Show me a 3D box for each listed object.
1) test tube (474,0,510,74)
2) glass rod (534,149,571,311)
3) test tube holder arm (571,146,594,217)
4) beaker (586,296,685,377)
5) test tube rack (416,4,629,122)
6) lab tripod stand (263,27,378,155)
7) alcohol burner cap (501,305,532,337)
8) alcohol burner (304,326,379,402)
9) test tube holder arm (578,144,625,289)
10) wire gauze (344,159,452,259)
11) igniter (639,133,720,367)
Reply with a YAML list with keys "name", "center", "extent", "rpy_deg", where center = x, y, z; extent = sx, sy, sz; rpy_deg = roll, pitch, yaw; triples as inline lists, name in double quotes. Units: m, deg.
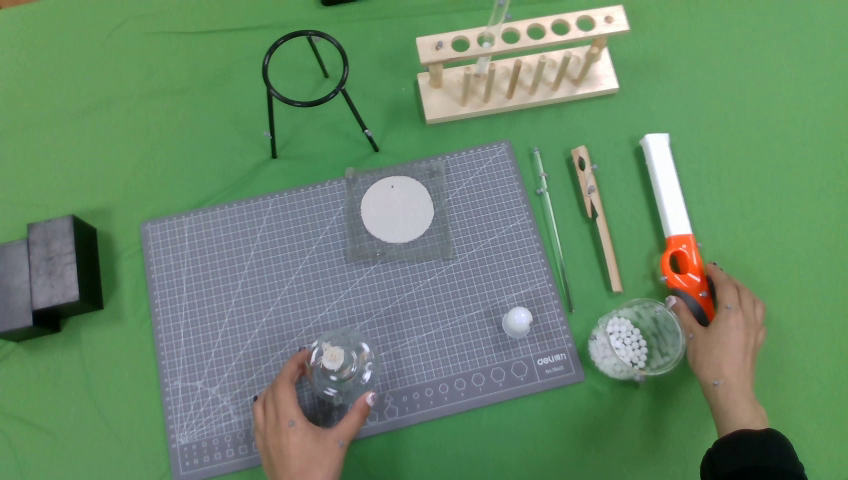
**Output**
- name: "test tube"
  center: [0.075, -0.231, 0.679]
  extent: [0.017, 0.151, 0.017]
  rpy_deg: [1, 74, -5]
- name: "glass rod"
  center: [0.149, -0.015, 0.707]
  extent: [0.008, 0.008, 0.198]
  rpy_deg: [-8, 76, -2]
- name: "test tube holder arm"
  center: [0.192, -0.069, 0.720]
  extent: [0.010, 0.015, 0.087]
  rpy_deg: [-20, 72, 30]
- name: "beaker"
  center: [0.210, 0.103, 0.628]
  extent: [0.084, 0.101, 0.073]
  rpy_deg: [17, 74, 6]
- name: "test tube rack"
  center: [0.116, -0.209, 0.725]
  extent: [0.242, 0.085, 0.066]
  rpy_deg: [-10, 74, -3]
- name: "lab tripod stand"
  center: [-0.124, -0.160, 0.686]
  extent: [0.148, 0.132, 0.147]
  rpy_deg: [0, 76, 0]
- name: "alcohol burner cap"
  center: [0.102, 0.086, 0.659]
  extent: [0.034, 0.048, 0.033]
  rpy_deg: [0, 73, 1]
- name: "alcohol burner"
  center: [-0.086, 0.123, 0.612]
  extent: [0.078, 0.120, 0.077]
  rpy_deg: [-1, 73, 2]
- name: "test tube holder arm"
  center: [0.205, -0.029, 0.705]
  extent: [0.013, 0.015, 0.177]
  rpy_deg: [-22, 71, 30]
- name: "wire gauze"
  center: [-0.032, -0.036, 0.712]
  extent: [0.125, 0.011, 0.121]
  rpy_deg: [-2, 75, -1]
- name: "igniter"
  center: [0.291, 0.005, 0.693]
  extent: [0.057, 0.025, 0.275]
  rpy_deg: [-3, 74, -12]
